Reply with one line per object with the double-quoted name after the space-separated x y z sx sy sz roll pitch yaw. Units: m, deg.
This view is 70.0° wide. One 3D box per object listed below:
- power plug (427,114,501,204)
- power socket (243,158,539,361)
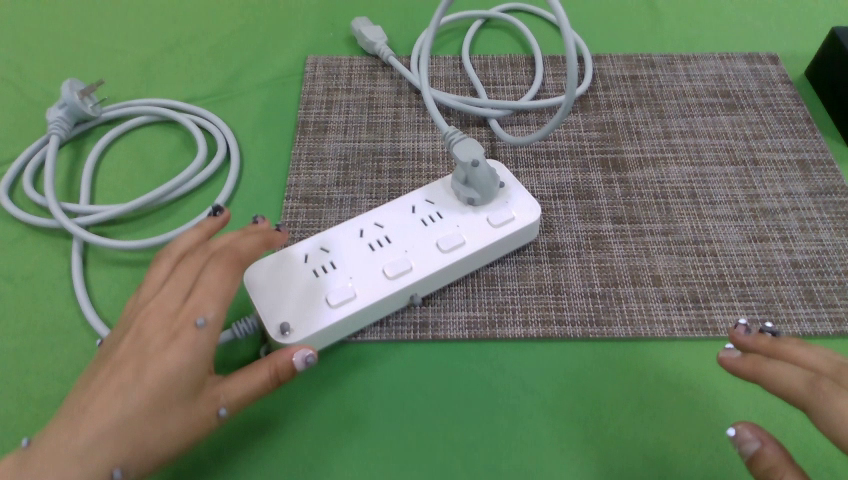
0.030 -0.057 0.446 0.035 0.053 0.072 -17 57 -11 "power plug"
-0.018 0.007 0.428 0.227 0.033 0.071 -26 58 -17 "power socket"
